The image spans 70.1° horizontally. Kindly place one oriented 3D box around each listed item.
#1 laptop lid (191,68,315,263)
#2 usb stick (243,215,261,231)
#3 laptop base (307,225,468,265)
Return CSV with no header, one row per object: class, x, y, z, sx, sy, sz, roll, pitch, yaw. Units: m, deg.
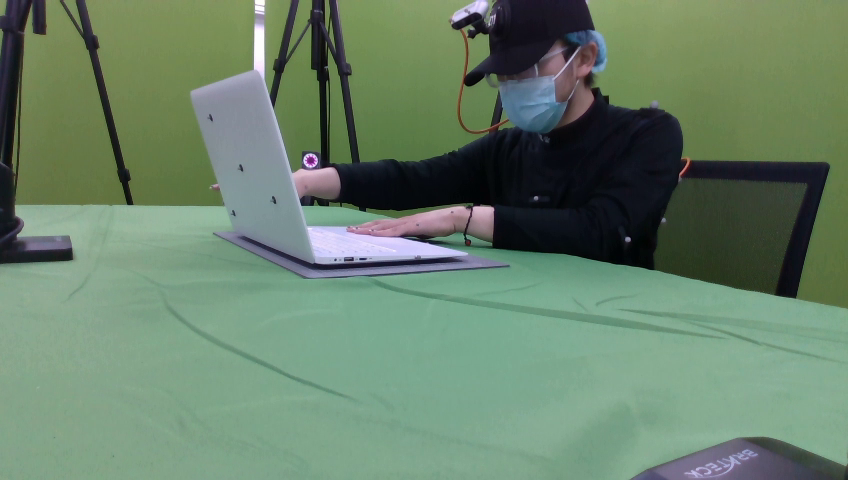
laptop lid,-0.250,-0.102,0.838,0.013,0.242,0.355,-22,20,-29
usb stick,-0.298,-0.029,1.054,0.021,0.027,0.059,1,9,-31
laptop base,-0.125,0.005,0.936,0.237,0.023,0.352,2,6,-33
